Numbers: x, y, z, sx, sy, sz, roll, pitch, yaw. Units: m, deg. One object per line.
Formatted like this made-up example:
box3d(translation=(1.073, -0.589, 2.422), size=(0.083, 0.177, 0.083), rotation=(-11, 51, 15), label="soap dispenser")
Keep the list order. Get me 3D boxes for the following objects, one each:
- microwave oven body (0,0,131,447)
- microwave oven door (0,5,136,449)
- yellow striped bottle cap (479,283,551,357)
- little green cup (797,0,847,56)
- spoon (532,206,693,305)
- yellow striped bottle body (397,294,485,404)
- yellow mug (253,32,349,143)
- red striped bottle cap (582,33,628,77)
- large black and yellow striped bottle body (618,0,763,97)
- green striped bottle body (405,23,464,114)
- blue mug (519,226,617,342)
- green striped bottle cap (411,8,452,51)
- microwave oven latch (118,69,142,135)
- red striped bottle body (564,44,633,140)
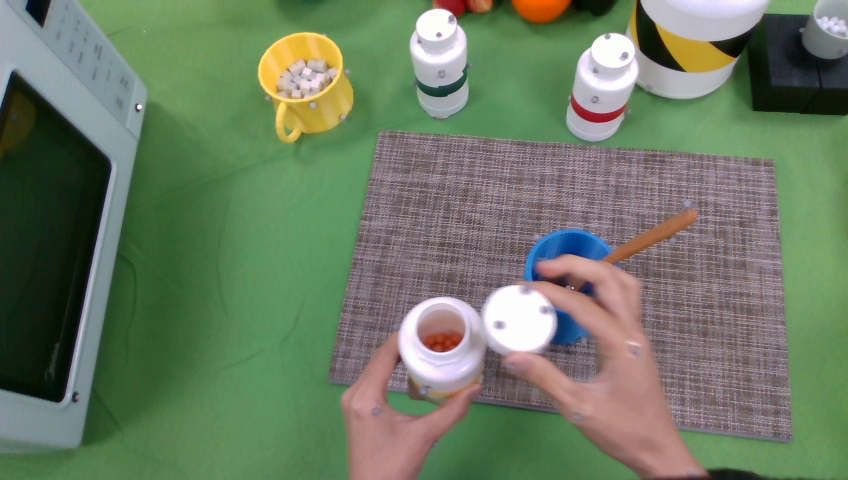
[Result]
box3d(translation=(-0.516, -0.032, 0.589), size=(0.326, 0.262, 0.438), rotation=(-3, 68, 4), label="microwave oven body")
box3d(translation=(-0.371, -0.003, 0.558), size=(0.039, 0.245, 0.353), rotation=(-3, 67, 5), label="microwave oven door")
box3d(translation=(0.057, 0.050, 0.380), size=(0.044, 0.019, 0.044), rotation=(1, 63, -1), label="yellow striped bottle cap")
box3d(translation=(0.438, -0.231, 0.654), size=(0.061, 0.039, 0.061), rotation=(-1, 66, 2), label="little green cup")
box3d(translation=(0.157, 0.022, 0.543), size=(0.022, 0.194, 0.041), rotation=(5, 60, -32), label="spoon")
box3d(translation=(0.015, 0.081, 0.456), size=(0.063, 0.121, 0.062), rotation=(-2, 64, 4), label="yellow striped bottle body")
box3d(translation=(-0.151, -0.175, 0.724), size=(0.099, 0.064, 0.130), rotation=(15, 70, 11), label="yellow mug")
box3d(translation=(0.183, -0.188, 0.613), size=(0.044, 0.018, 0.044), rotation=(0, 66, 1), label="red striped bottle cap")
box3d(translation=(0.290, -0.259, 0.655), size=(0.131, 0.185, 0.130), rotation=(-2, 67, 5), label="large black and yellow striped bottle body")
box3d(translation=(0.013, -0.203, 0.692), size=(0.063, 0.120, 0.062), rotation=(-2, 67, 4), label="green striped bottle body")
box3d(translation=(0.119, 0.053, 0.580), size=(0.116, 0.106, 0.081), rotation=(-29, 67, -7), label="blue mug")
box3d(translation=(0.007, -0.224, 0.644), size=(0.044, 0.020, 0.044), rotation=(-1, 67, 4), label="green striped bottle cap")
box3d(translation=(-0.364, -0.166, 0.735), size=(0.030, 0.030, 0.078), rotation=(-2, 68, 4), label="microwave oven latch")
box3d(translation=(0.189, -0.167, 0.661), size=(0.063, 0.120, 0.062), rotation=(-3, 66, 7), label="red striped bottle body")
